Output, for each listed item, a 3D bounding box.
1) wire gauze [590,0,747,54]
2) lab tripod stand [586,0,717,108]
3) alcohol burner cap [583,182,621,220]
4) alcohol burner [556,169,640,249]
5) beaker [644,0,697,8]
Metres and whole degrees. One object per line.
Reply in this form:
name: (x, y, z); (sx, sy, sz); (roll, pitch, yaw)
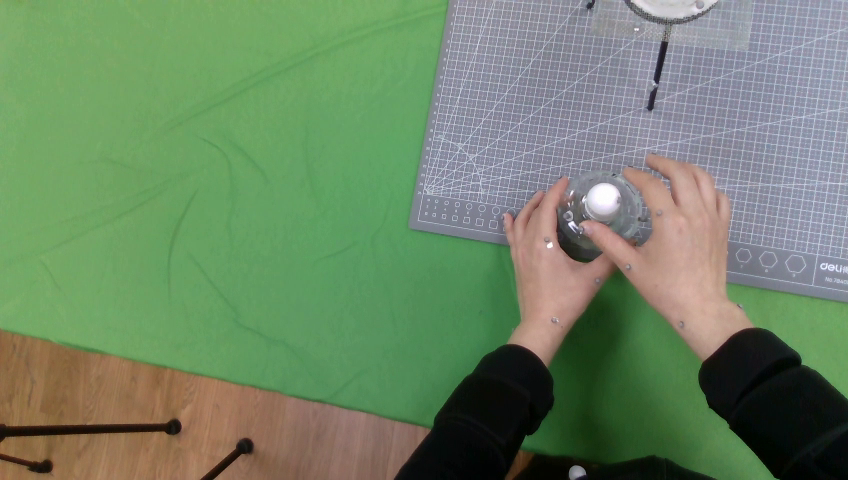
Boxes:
wire gauze: (0.205, -0.220, 0.495); (0.125, 0.011, 0.121); (9, 90, 9)
lab tripod stand: (0.218, -0.213, 0.559); (0.148, 0.132, 0.148); (-1, 86, 10)
alcohol burner cap: (0.156, -0.036, 0.529); (0.034, 0.048, 0.034); (-1, 86, 15)
alcohol burner: (0.163, -0.031, 0.564); (0.078, 0.119, 0.077); (-1, 84, 9)
beaker: (0.190, -0.226, 0.449); (0.083, 0.100, 0.074); (23, 90, 13)
